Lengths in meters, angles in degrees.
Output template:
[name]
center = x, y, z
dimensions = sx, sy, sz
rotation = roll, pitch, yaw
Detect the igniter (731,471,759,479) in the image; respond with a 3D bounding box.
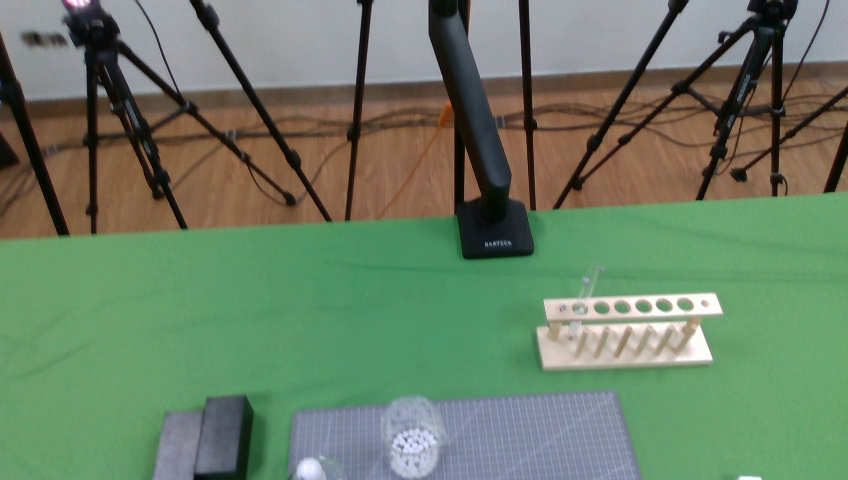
[igniter]
center = 0.402, 0.400, 0.678
dimensions = 0.057, 0.025, 0.274
rotation = 6, 51, -7

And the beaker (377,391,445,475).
[beaker]
center = -0.014, 0.246, 0.758
dimensions = 0.083, 0.101, 0.073
rotation = 16, 53, 13

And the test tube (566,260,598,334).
[test tube]
center = 0.216, 0.083, 0.837
dimensions = 0.017, 0.151, 0.017
rotation = 1, 46, 0

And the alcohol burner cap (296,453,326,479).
[alcohol burner cap]
center = -0.130, 0.261, 0.690
dimensions = 0.034, 0.048, 0.033
rotation = 2, 53, -2

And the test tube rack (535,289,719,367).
[test tube rack]
center = 0.289, 0.127, 0.865
dimensions = 0.242, 0.086, 0.066
rotation = -3, 51, -1

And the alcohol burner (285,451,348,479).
[alcohol burner]
center = -0.131, 0.283, 0.719
dimensions = 0.078, 0.120, 0.077
rotation = -1, 49, 1
